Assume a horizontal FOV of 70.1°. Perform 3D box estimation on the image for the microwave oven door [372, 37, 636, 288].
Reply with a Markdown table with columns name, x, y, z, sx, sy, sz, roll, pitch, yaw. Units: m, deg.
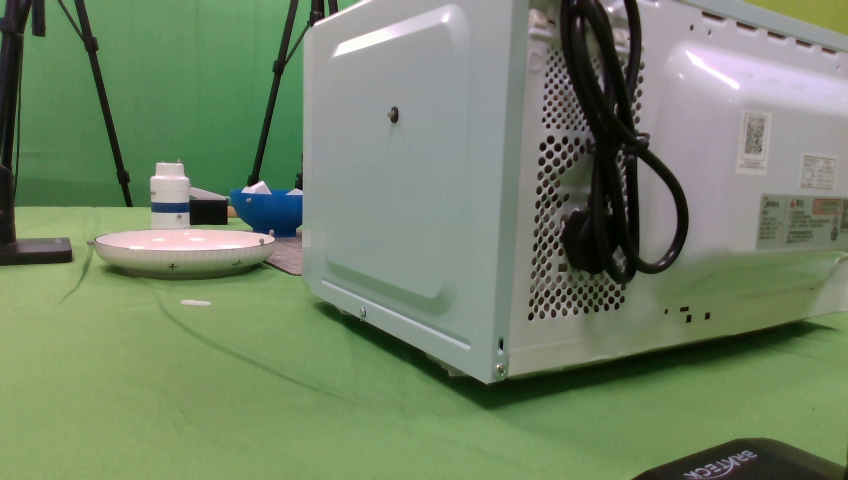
| name | x | y | z | sx | sy | sz | roll | pitch | yaw |
| --- | --- | --- | --- | --- | --- | --- | --- | --- | --- |
| microwave oven door | 0.109 | -0.080 | 0.686 | 0.358 | 0.243 | 0.039 | -2 | 9 | -33 |

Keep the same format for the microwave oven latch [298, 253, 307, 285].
| name | x | y | z | sx | sy | sz | roll | pitch | yaw |
| --- | --- | --- | --- | --- | --- | --- | --- | --- | --- |
| microwave oven latch | -0.081 | 0.027 | 0.582 | 0.079 | 0.029 | 0.030 | -1 | 7 | -33 |

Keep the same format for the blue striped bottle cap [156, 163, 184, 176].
| name | x | y | z | sx | sy | sz | roll | pitch | yaw |
| --- | --- | --- | --- | --- | --- | --- | --- | --- | --- |
| blue striped bottle cap | -0.438 | -0.122 | 1.045 | 0.044 | 0.020 | 0.044 | 4 | 6 | 0 |

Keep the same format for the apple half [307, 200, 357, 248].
| name | x | y | z | sx | sy | sz | roll | pitch | yaw |
| --- | --- | --- | --- | --- | --- | --- | --- | --- | --- |
| apple half | -0.135 | -0.024 | 0.941 | 0.053 | 0.074 | 0.081 | 13 | 9 | 39 |

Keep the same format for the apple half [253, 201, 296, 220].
| name | x | y | z | sx | sy | sz | roll | pitch | yaw |
| --- | --- | --- | --- | --- | --- | --- | --- | --- | --- |
| apple half | -0.264 | -0.053 | 1.066 | 0.081 | 0.033 | 0.081 | 3 | 8 | 0 |

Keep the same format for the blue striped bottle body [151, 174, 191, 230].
| name | x | y | z | sx | sy | sz | roll | pitch | yaw |
| --- | --- | --- | --- | --- | --- | --- | --- | --- | --- |
| blue striped bottle body | -0.439 | -0.071 | 1.052 | 0.063 | 0.120 | 0.063 | 2 | 7 | 0 |

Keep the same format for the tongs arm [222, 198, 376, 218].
| name | x | y | z | sx | sy | sz | roll | pitch | yaw |
| --- | --- | --- | --- | --- | --- | --- | --- | --- | --- |
| tongs arm | -0.309 | -0.079 | 1.487 | 0.385 | 0.026 | 0.050 | 3 | 7 | -2 |

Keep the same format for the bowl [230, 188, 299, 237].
| name | x | y | z | sx | sy | sz | roll | pitch | yaw |
| --- | --- | --- | --- | --- | --- | --- | --- | --- | --- |
| bowl | -0.264 | -0.048 | 1.066 | 0.151 | 0.077 | 0.151 | 2 | 8 | 0 |

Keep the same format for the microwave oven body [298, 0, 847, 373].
| name | x | y | z | sx | sy | sz | roll | pitch | yaw |
| --- | --- | --- | --- | --- | --- | --- | --- | --- | --- |
| microwave oven body | 0.151 | -0.055 | 0.542 | 0.444 | 0.260 | 0.324 | -2 | 7 | -33 |

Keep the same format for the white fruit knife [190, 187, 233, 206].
| name | x | y | z | sx | sy | sz | roll | pitch | yaw |
| --- | --- | --- | --- | --- | --- | --- | --- | --- | --- |
| white fruit knife | -0.413 | -0.081 | 1.270 | 0.208 | 0.027 | 0.016 | 17 | 13 | -41 |

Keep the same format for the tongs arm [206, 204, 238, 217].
| name | x | y | z | sx | sy | sz | roll | pitch | yaw |
| --- | --- | --- | --- | --- | --- | --- | --- | --- | --- |
| tongs arm | -0.302 | -0.065 | 1.407 | 0.389 | 0.028 | 0.028 | 1 | 4 | -14 |

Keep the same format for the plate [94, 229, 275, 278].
| name | x | y | z | sx | sy | sz | roll | pitch | yaw |
| --- | --- | --- | --- | --- | --- | --- | --- | --- | --- |
| plate | -0.291 | 0.016 | 0.750 | 0.208 | 0.039 | 0.207 | 2 | 7 | 0 |
